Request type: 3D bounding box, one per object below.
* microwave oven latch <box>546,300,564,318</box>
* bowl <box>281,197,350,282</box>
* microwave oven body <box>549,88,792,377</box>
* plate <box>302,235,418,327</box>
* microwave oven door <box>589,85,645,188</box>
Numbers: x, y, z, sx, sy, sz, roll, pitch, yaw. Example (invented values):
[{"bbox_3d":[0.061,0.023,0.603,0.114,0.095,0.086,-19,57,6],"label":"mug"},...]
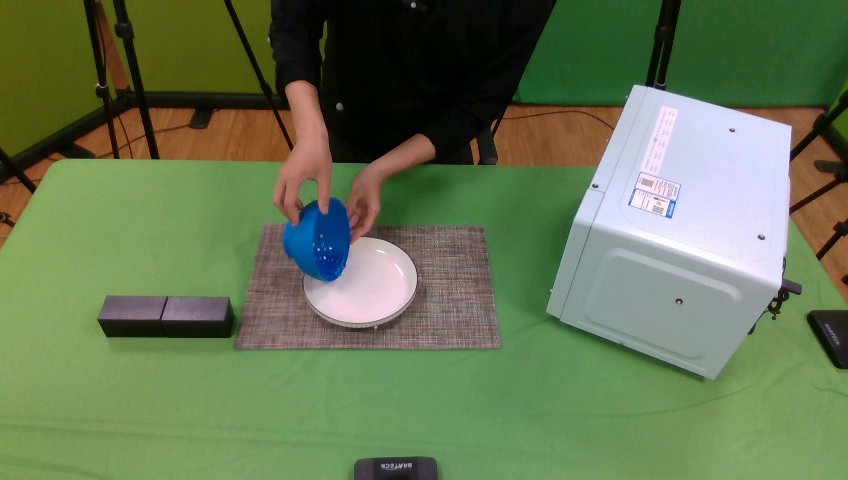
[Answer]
[{"bbox_3d":[0.242,0.102,1.081,0.030,0.029,0.079,21,48,17],"label":"microwave oven latch"},{"bbox_3d":[-0.197,-0.003,1.062,0.076,0.152,0.150,3,44,17],"label":"bowl"},{"bbox_3d":[0.456,-0.028,1.088,0.325,0.261,0.440,20,47,16],"label":"microwave oven body"},{"bbox_3d":[-0.115,0.076,1.098,0.208,0.039,0.206,2,46,-2],"label":"plate"},{"bbox_3d":[0.342,-0.107,1.149,0.039,0.245,0.354,20,48,15],"label":"microwave oven door"}]
